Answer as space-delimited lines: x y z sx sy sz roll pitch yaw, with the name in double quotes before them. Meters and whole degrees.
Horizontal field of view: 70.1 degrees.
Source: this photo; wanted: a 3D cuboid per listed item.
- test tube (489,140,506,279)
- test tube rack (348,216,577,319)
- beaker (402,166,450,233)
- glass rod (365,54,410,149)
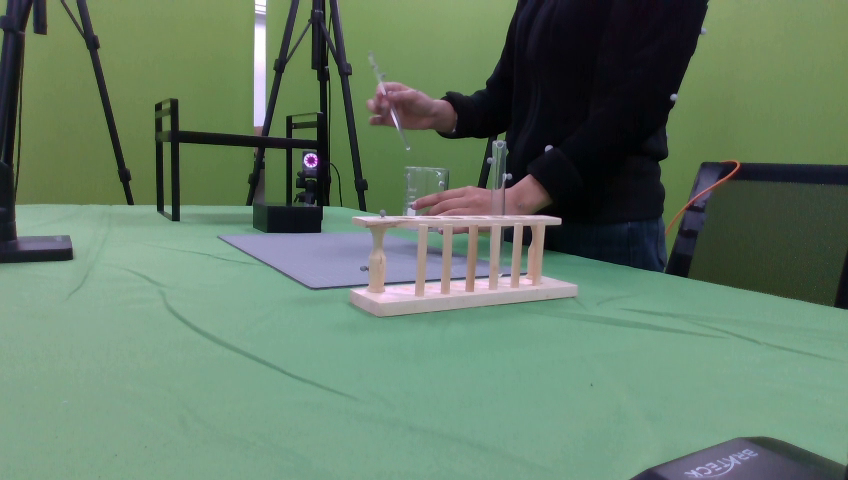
"test tube" 0.079 -0.032 0.654 0.017 0.150 0.017 1 2 0
"test tube rack" 0.048 0.021 0.619 0.244 0.085 0.066 -2 9 -31
"beaker" 0.004 -0.064 0.950 0.073 0.100 0.084 8 8 33
"glass rod" -0.062 -0.233 1.007 0.008 0.199 0.008 -21 -20 -8
